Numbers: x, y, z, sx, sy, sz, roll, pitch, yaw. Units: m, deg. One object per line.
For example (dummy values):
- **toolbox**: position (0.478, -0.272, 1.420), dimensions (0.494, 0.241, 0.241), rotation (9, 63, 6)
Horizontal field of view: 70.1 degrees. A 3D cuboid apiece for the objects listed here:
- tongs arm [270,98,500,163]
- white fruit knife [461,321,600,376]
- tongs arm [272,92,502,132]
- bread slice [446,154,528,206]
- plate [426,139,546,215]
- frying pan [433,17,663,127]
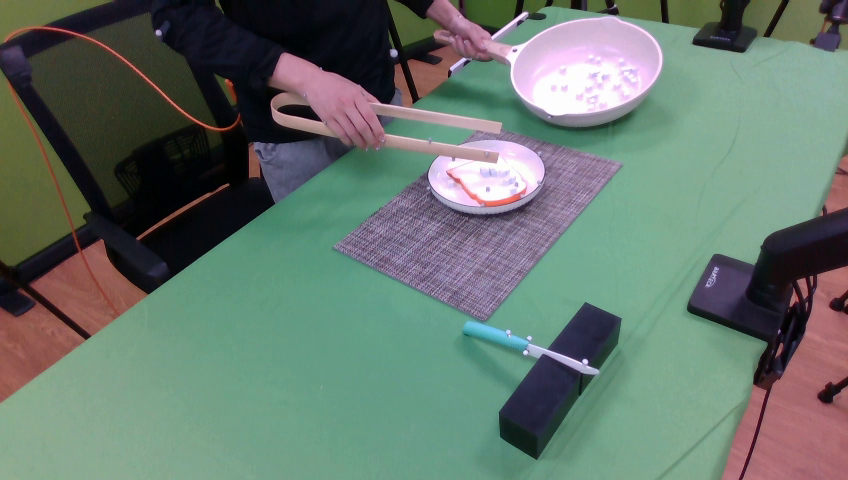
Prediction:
- **tongs arm**: position (-0.066, -0.180, 0.997), dimensions (0.385, 0.026, 0.050), rotation (8, 53, -1)
- **white fruit knife**: position (0.126, 0.133, 0.752), dimensions (0.205, 0.027, 0.016), rotation (13, 45, 42)
- **tongs arm**: position (-0.060, -0.215, 1.025), dimensions (0.388, 0.028, 0.028), rotation (7, 57, -2)
- **bread slice**: position (0.117, -0.104, 1.057), dimensions (0.107, 0.018, 0.133), rotation (-24, 42, -18)
- **plate**: position (0.109, -0.107, 1.058), dimensions (0.207, 0.039, 0.206), rotation (-4, 40, 4)
- **frying pan**: position (0.236, -0.373, 1.260), dimensions (0.485, 0.103, 0.307), rotation (24, 62, 20)
